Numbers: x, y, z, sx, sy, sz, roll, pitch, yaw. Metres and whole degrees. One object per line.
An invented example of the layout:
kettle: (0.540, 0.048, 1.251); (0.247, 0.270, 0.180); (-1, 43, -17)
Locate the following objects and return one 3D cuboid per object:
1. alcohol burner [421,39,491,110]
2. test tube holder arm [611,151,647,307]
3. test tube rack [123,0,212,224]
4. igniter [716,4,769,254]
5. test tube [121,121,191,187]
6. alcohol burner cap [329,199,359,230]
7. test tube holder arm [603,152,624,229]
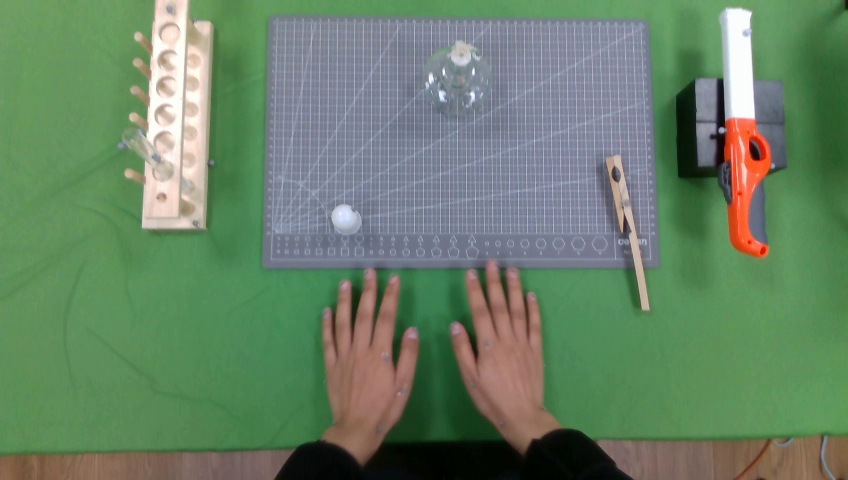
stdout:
alcohol burner: (0.035, -0.185, 0.650); (0.078, 0.119, 0.077); (0, 84, 0)
test tube holder arm: (0.232, -0.013, 0.687); (0.013, 0.015, 0.178); (-12, 87, 20)
test tube rack: (-0.279, -0.143, 0.652); (0.067, 0.085, 0.241); (0, 84, -2)
igniter: (0.341, -0.121, 0.652); (0.057, 0.025, 0.275); (2, 81, -4)
test tube: (-0.259, -0.080, 0.596); (0.017, 0.150, 0.017); (1, 77, -3)
alcohol burner cap: (-0.090, -0.030, 0.665); (0.034, 0.048, 0.034); (0, 83, -3)
test tube holder arm: (0.218, -0.056, 0.691); (0.010, 0.015, 0.087); (-12, 87, 20)
